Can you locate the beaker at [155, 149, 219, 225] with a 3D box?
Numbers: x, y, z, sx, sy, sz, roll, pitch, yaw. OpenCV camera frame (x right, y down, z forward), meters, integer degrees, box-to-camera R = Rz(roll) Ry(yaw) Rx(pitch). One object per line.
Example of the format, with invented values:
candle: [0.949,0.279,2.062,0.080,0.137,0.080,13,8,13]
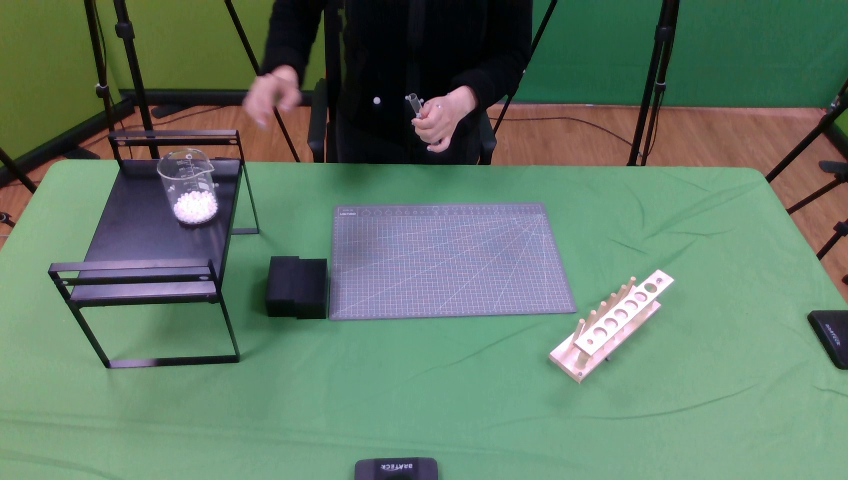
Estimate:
beaker: [-0.362,-0.080,0.945,0.084,0.101,0.073,4,46,-1]

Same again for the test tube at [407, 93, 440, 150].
test tube: [0.001,-0.208,1.080,0.017,0.151,0.017,-9,60,16]

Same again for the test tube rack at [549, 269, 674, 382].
test tube rack: [0.325,0.134,1.047,0.242,0.085,0.066,-32,56,-29]
